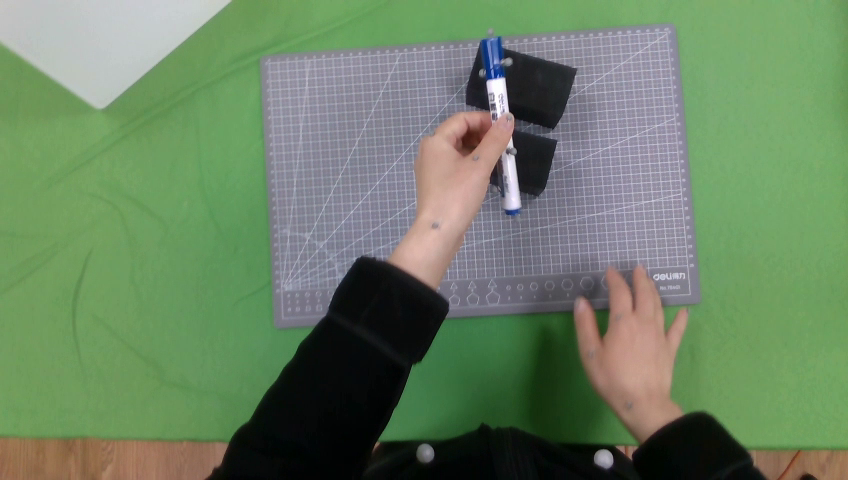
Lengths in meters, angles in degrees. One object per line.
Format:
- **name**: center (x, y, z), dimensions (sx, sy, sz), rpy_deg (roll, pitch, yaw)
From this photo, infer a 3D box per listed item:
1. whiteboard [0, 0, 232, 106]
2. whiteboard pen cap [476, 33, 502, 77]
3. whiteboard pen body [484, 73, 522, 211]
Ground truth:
- **whiteboard**: center (-0.354, -0.315, 0.561), dimensions (0.217, 0.308, 0.142), rpy_deg (-39, 66, 0)
- **whiteboard pen cap**: center (0.052, -0.146, 0.481), dimensions (0.018, 0.018, 0.033), rpy_deg (-13, 110, 2)
- **whiteboard pen body**: center (0.064, -0.091, 0.500), dimensions (0.017, 0.017, 0.141), rpy_deg (-11, 109, 2)
